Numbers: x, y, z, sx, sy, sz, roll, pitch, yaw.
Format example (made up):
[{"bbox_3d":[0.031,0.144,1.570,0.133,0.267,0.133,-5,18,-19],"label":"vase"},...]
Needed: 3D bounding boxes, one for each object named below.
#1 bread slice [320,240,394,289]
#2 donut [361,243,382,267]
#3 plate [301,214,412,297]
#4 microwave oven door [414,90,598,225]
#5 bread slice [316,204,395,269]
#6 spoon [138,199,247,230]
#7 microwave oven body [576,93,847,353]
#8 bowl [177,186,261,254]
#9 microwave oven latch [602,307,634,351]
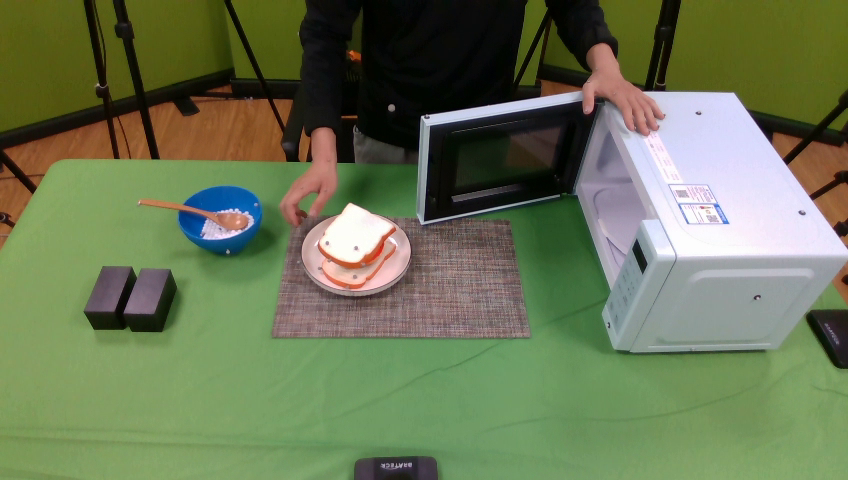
[{"bbox_3d":[-0.129,0.036,1.140,0.107,0.018,0.134,19,48,14],"label":"bread slice"},{"bbox_3d":[-0.127,0.011,1.127,0.099,0.048,0.098,3,44,-3],"label":"donut"},{"bbox_3d":[-0.126,0.031,1.146,0.208,0.039,0.206,2,46,-2],"label":"plate"},{"bbox_3d":[0.158,-0.161,1.195,0.356,0.245,0.039,-12,48,-16],"label":"microwave oven door"},{"bbox_3d":[-0.129,-0.005,1.100,0.104,0.019,0.131,27,52,12],"label":"bread slice"},{"bbox_3d":[-0.431,-0.053,1.135,0.194,0.022,0.041,15,47,-20],"label":"spoon"},{"bbox_3d":[0.475,-0.041,1.109,0.326,0.261,0.438,-1,45,-4],"label":"microwave oven body"},{"bbox_3d":[-0.383,-0.026,1.158,0.151,0.077,0.150,2,46,-2],"label":"bowl"},{"bbox_3d":[0.332,0.153,1.044,0.030,0.029,0.078,0,45,-4],"label":"microwave oven latch"}]
